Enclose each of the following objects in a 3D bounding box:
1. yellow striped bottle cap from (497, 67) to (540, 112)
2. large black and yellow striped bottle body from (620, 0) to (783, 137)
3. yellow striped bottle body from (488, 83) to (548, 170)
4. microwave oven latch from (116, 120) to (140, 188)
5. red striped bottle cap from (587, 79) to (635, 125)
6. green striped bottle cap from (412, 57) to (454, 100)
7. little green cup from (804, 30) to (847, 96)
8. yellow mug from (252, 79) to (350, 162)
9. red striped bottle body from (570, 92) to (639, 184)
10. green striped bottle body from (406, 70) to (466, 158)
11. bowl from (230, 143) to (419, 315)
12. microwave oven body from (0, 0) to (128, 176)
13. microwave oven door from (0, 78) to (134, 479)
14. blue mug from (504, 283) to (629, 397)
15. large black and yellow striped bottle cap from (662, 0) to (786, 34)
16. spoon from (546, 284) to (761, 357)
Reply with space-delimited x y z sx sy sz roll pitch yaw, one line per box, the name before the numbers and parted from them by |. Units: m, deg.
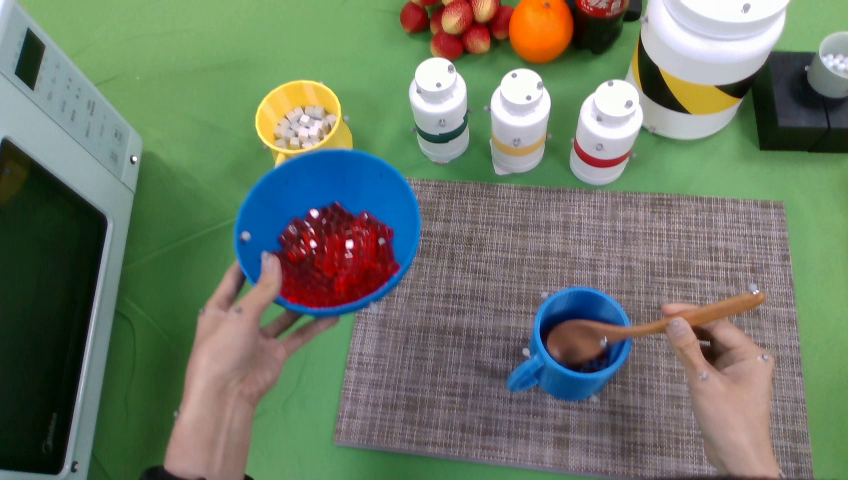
yellow striped bottle cap | 0.096 -0.154 0.617 0.044 0.019 0.044 -2 68 5
large black and yellow striped bottle body | 0.290 -0.210 0.644 0.130 0.185 0.130 -2 66 5
yellow striped bottle body | 0.102 -0.133 0.664 0.063 0.121 0.062 -2 66 6
microwave oven latch | -0.361 -0.102 0.722 0.030 0.030 0.078 -3 67 4
red striped bottle cap | 0.186 -0.137 0.600 0.044 0.018 0.044 -1 66 2
green striped bottle cap | 0.009 -0.169 0.632 0.044 0.020 0.044 -2 65 4
little green cup | 0.439 -0.186 0.643 0.061 0.039 0.061 -2 65 4
yellow mug | -0.148 -0.116 0.712 0.099 0.064 0.130 14 70 11
red striped bottle body | 0.192 -0.116 0.648 0.063 0.121 0.062 -3 65 7
green striped bottle body | 0.015 -0.148 0.680 0.063 0.120 0.062 -2 66 5
bowl | -0.078 0.002 0.517 0.151 0.077 0.150 -1 65 2
microwave oven body | -0.511 0.033 0.574 0.326 0.262 0.438 -4 67 4
microwave oven door | -0.365 0.058 0.543 0.039 0.246 0.353 -5 66 4
blue mug | 0.125 0.104 0.564 0.116 0.107 0.081 -29 66 -7
large black and yellow striped bottle cap | 0.281 -0.243 0.566 0.115 0.019 0.114 -2 65 5
spoon | 0.179 0.068 0.499 0.021 0.193 0.042 -40 100 -40
